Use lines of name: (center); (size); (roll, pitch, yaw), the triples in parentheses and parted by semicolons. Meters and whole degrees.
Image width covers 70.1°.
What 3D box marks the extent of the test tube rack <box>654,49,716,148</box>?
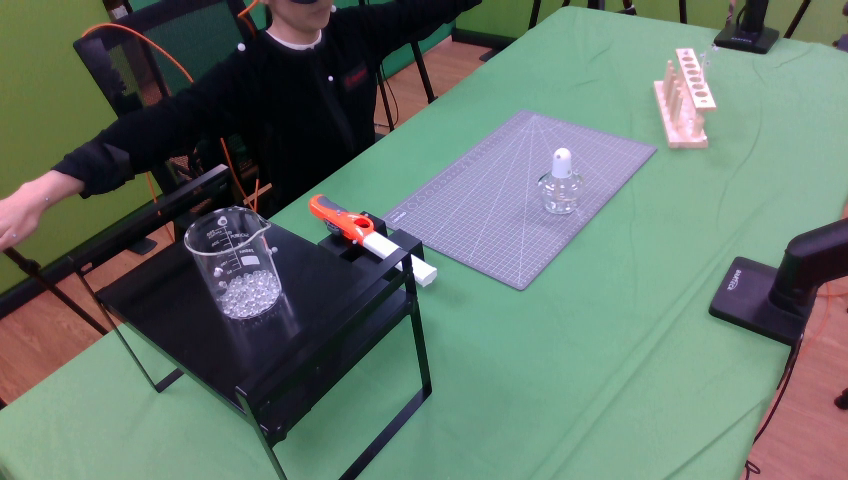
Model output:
test tube rack: (0.502, -0.281, 1.176); (0.066, 0.085, 0.241); (2, 41, 11)

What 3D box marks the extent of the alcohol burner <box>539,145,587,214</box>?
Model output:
alcohol burner: (0.226, -0.102, 0.986); (0.078, 0.119, 0.077); (-6, 41, 6)

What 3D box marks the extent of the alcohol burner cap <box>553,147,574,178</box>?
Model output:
alcohol burner cap: (0.224, -0.125, 0.965); (0.034, 0.048, 0.033); (-5, 44, 5)

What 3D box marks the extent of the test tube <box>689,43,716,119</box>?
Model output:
test tube: (0.509, -0.287, 1.107); (0.017, 0.151, 0.017); (-3, 43, 3)

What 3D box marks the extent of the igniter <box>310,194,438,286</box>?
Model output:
igniter: (-0.087, -0.007, 0.921); (0.274, 0.025, 0.057); (31, 51, 34)

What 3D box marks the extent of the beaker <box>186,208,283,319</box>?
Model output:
beaker: (-0.192, 0.026, 0.637); (0.084, 0.101, 0.073); (-13, 41, -7)
